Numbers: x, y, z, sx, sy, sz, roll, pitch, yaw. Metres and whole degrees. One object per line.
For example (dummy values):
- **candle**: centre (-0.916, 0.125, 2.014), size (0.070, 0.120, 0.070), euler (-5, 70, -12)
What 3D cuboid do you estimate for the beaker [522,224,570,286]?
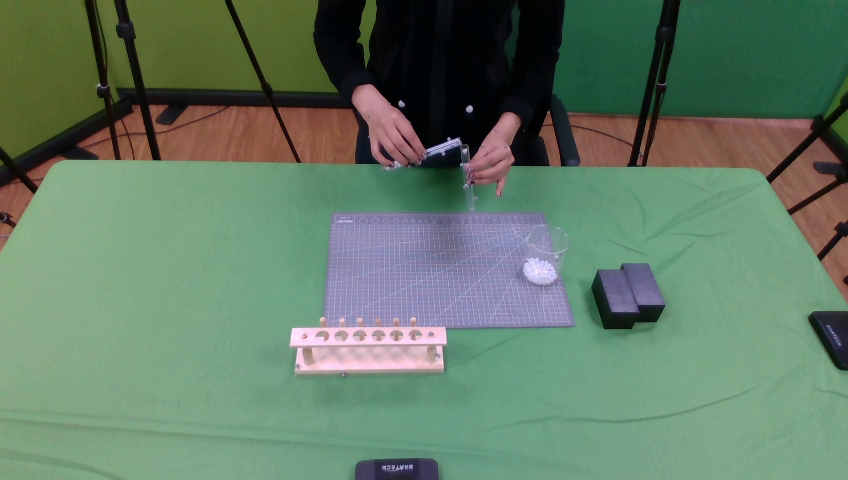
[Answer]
- **beaker**: centre (0.221, 0.032, 1.129), size (0.084, 0.101, 0.073), euler (-6, 46, -9)

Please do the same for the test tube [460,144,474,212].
- **test tube**: centre (0.081, -0.113, 1.129), size (0.017, 0.151, 0.017), euler (-5, 41, 5)

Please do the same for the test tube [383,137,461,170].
- **test tube**: centre (-0.004, -0.155, 1.093), size (0.150, 0.017, 0.017), euler (-18, 45, 13)

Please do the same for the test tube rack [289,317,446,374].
- **test tube rack**: centre (-0.089, 0.167, 0.988), size (0.242, 0.085, 0.066), euler (0, 46, -4)
